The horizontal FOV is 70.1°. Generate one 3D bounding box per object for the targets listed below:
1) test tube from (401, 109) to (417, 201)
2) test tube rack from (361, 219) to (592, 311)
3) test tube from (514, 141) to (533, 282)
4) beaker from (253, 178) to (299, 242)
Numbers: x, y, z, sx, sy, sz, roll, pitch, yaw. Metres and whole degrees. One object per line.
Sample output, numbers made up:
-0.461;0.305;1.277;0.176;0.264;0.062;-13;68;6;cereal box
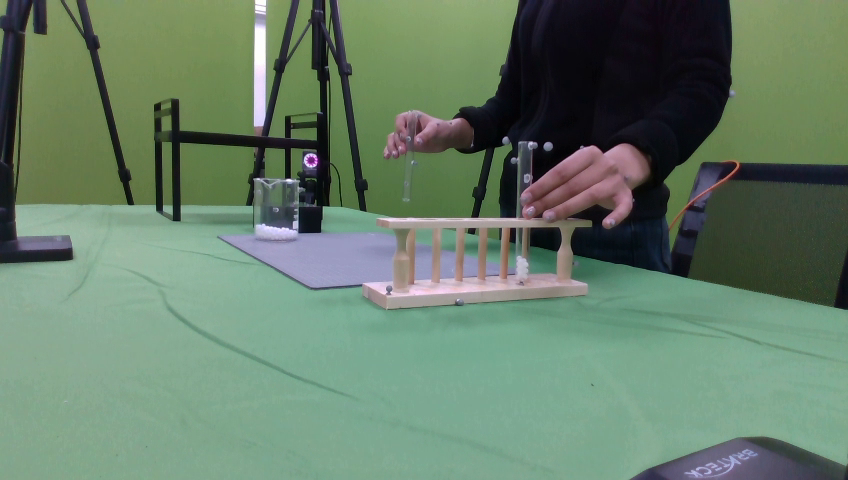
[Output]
-0.024;-0.138;0.990;0.017;0.150;0.017;5;9;0;test tube
0.060;0.019;0.640;0.243;0.085;0.066;-1;8;-27;test tube rack
0.105;-0.029;0.641;0.017;0.150;0.017;0;7;0;test tube
-0.243;-0.050;0.990;0.074;0.100;0.084;3;9;1;beaker
